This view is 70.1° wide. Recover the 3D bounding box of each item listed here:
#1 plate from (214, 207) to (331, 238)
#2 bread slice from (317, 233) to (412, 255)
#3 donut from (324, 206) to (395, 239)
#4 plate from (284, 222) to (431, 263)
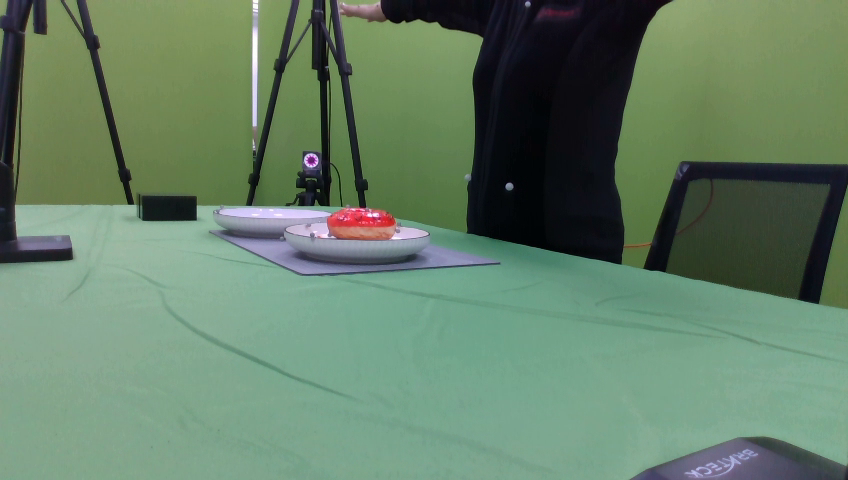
[{"bbox_3d":[-0.268,-0.032,1.085,0.208,0.039,0.207,2,7,0],"label":"plate"},{"bbox_3d":[-0.096,0.004,0.862,0.107,0.018,0.133,-1,6,-31],"label":"bread slice"},{"bbox_3d":[-0.089,-0.022,0.847,0.099,0.048,0.099,4,8,0],"label":"donut"},{"bbox_3d":[-0.094,0.003,0.868,0.209,0.038,0.209,2,7,0],"label":"plate"}]
